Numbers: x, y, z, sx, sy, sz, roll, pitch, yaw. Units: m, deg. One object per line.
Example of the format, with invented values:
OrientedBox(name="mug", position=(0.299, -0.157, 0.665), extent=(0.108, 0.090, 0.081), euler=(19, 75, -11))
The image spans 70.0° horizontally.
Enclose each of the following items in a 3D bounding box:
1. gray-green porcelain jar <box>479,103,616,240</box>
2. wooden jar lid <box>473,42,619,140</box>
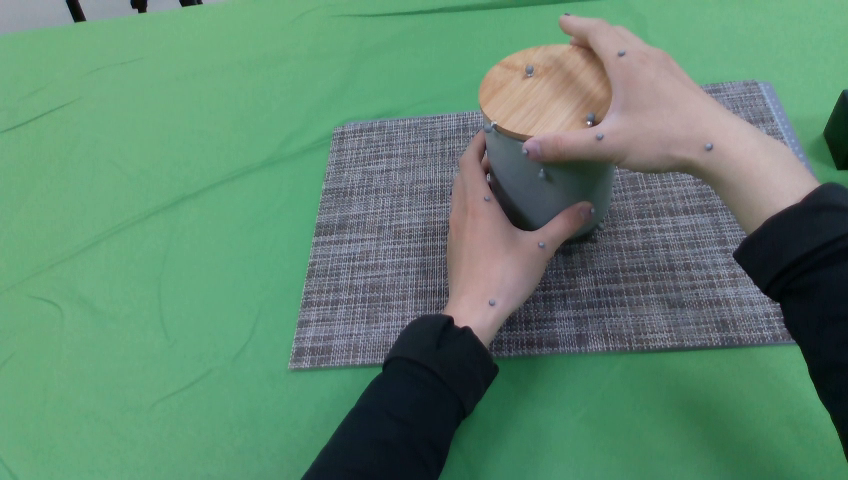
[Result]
OrientedBox(name="gray-green porcelain jar", position=(0.103, -0.071, 0.510), extent=(0.106, 0.128, 0.105), euler=(-6, 51, 7))
OrientedBox(name="wooden jar lid", position=(0.092, -0.111, 0.461), extent=(0.108, 0.021, 0.107), euler=(-5, 54, 7))
